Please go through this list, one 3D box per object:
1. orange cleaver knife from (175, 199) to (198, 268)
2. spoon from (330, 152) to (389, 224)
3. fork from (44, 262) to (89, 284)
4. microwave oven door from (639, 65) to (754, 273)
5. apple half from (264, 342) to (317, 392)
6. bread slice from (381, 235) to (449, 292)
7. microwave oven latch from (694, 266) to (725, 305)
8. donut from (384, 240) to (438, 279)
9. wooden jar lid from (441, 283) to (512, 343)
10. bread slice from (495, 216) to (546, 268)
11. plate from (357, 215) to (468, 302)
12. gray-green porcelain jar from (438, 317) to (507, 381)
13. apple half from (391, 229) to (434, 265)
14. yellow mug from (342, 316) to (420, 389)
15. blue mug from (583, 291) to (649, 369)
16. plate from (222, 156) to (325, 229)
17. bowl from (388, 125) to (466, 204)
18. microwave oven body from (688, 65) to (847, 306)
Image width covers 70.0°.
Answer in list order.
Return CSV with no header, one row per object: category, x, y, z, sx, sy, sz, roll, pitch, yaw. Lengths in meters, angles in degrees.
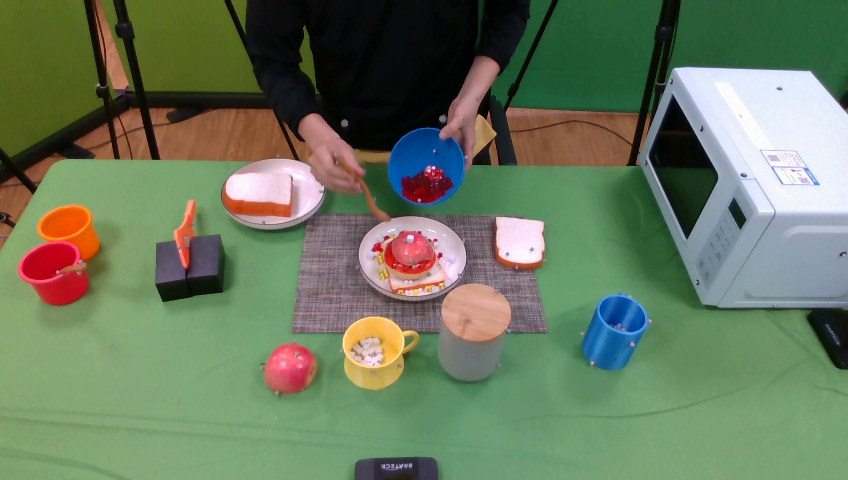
orange cleaver knife,-0.438,-0.017,1.138,0.012,0.077,0.210,-14,27,-7
spoon,-0.107,-0.086,1.022,0.021,0.195,0.041,-34,48,-3
fork,-0.598,0.054,1.014,0.207,0.019,0.028,-15,29,45
microwave oven door,0.522,-0.147,1.193,0.039,0.245,0.353,0,47,-3
apple half,-0.214,0.198,0.970,0.074,0.053,0.080,19,48,10
bread slice,-0.027,0.039,1.139,0.107,0.018,0.133,-12,48,-15
microwave oven latch,0.523,0.082,1.115,0.030,0.029,0.078,3,46,0
donut,-0.025,0.029,1.110,0.099,0.048,0.098,3,46,-3
wooden jar lid,0.080,0.114,0.931,0.108,0.021,0.107,1,49,-1
bread slice,0.194,0.002,1.205,0.105,0.019,0.131,5,45,2
plate,-0.022,0.037,1.141,0.208,0.039,0.206,2,46,-2
gray-green porcelain jar,0.076,0.158,0.977,0.106,0.127,0.105,2,47,-2
apple half,-0.021,0.005,1.083,0.081,0.033,0.081,7,48,-7
yellow mug,-0.067,0.177,0.990,0.131,0.064,0.099,-16,50,-19
blue mug,0.324,0.142,1.023,0.082,0.106,0.116,15,47,11
plate,-0.308,-0.095,1.251,0.209,0.038,0.208,2,47,-2
bowl,0.013,-0.138,1.170,0.151,0.077,0.151,-1,85,13
microwave oven body,0.669,-0.111,1.176,0.326,0.261,0.439,0,46,-3
